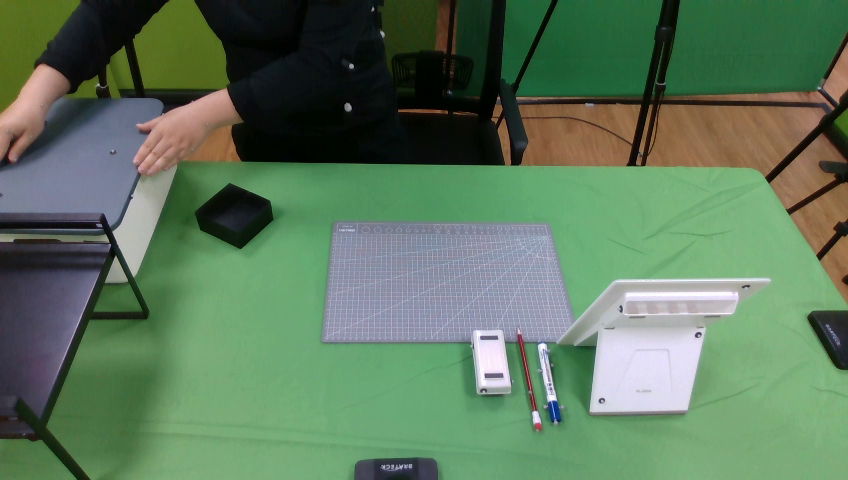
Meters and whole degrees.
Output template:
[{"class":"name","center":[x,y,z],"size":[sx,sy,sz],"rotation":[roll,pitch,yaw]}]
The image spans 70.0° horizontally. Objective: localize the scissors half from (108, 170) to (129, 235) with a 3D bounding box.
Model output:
[{"class":"scissors half","center":[-0.617,-0.077,1.223],"size":[0.040,0.013,0.174],"rotation":[-14,54,-9]}]

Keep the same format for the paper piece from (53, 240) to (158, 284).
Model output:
[{"class":"paper piece","center":[-0.593,0.037,1.135],"size":[0.136,0.009,0.137],"rotation":[3,33,7]}]

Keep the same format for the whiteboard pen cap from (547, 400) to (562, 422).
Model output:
[{"class":"whiteboard pen cap","center":[0.205,0.269,0.956],"size":[0.018,0.018,0.033],"rotation":[0,48,-5]}]

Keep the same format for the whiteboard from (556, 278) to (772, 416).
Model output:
[{"class":"whiteboard","center":[0.347,0.174,0.903],"size":[0.217,0.306,0.143],"rotation":[1,65,-4]}]

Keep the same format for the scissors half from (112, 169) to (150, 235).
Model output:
[{"class":"scissors half","center":[-0.596,-0.077,1.225],"size":[0.040,0.013,0.174],"rotation":[7,53,1]}]

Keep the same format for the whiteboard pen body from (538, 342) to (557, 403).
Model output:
[{"class":"whiteboard pen body","center":[0.205,0.228,0.997],"size":[0.017,0.017,0.140],"rotation":[1,47,-3]}]

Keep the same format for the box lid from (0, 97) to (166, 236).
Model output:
[{"class":"box lid","center":[-0.632,-0.143,1.077],"size":[0.263,0.015,0.369],"rotation":[1,46,-6]}]

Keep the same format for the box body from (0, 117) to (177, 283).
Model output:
[{"class":"box body","center":[-0.640,-0.095,1.140],"size":[0.254,0.161,0.361],"rotation":[0,46,-4]}]

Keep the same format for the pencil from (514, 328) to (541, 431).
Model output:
[{"class":"pencil","center":[0.169,0.224,1.002],"size":[0.012,0.012,0.192],"rotation":[-2,46,-6]}]

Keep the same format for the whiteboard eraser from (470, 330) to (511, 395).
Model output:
[{"class":"whiteboard eraser","center":[0.109,0.202,0.998],"size":[0.055,0.042,0.112],"rotation":[1,46,-5]}]
